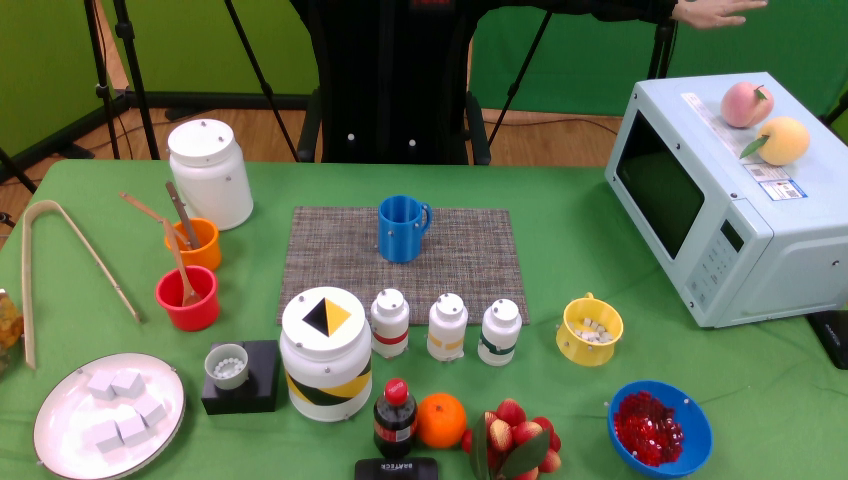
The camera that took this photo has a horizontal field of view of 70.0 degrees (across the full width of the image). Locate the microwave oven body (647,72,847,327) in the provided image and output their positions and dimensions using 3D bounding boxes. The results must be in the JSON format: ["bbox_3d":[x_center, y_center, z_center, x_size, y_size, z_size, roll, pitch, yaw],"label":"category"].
[{"bbox_3d":[0.608,-0.089,1.164,0.326,0.261,0.438,-7,46,-10],"label":"microwave oven body"}]

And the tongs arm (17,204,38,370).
[{"bbox_3d":[-0.698,0.069,1.068,0.028,0.028,0.385,-20,50,-13],"label":"tongs arm"}]

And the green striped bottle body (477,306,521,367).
[{"bbox_3d":[0.124,0.151,0.995,0.063,0.120,0.063,2,46,-2],"label":"green striped bottle body"}]

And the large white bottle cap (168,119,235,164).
[{"bbox_3d":[-0.407,-0.181,1.108,0.115,0.018,0.114,2,47,-2],"label":"large white bottle cap"}]

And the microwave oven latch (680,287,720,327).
[{"bbox_3d":[0.494,0.119,1.089,0.030,0.029,0.078,-7,46,-10],"label":"microwave oven latch"}]

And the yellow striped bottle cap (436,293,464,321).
[{"bbox_3d":[0.041,0.106,0.959,0.044,0.019,0.044,-1,49,1],"label":"yellow striped bottle cap"}]

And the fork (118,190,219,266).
[{"bbox_3d":[-0.459,-0.020,1.092,0.208,0.018,0.028,44,44,-24],"label":"fork"}]

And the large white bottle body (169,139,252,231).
[{"bbox_3d":[-0.411,-0.123,1.169,0.131,0.185,0.130,2,46,-2],"label":"large white bottle body"}]

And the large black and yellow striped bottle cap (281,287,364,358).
[{"bbox_3d":[-0.141,0.112,0.847,0.115,0.019,0.114,5,45,-4],"label":"large black and yellow striped bottle cap"}]

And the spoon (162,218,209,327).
[{"bbox_3d":[-0.410,0.054,1.029,0.041,0.021,0.194,-17,94,-15],"label":"spoon"}]

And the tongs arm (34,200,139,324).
[{"bbox_3d":[-0.622,0.034,1.105,0.051,0.026,0.382,-32,55,-26],"label":"tongs arm"}]

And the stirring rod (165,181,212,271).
[{"bbox_3d":[-0.430,-0.025,1.107,0.014,0.006,0.176,-25,94,-20],"label":"stirring rod"}]

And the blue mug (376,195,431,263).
[{"bbox_3d":[-0.035,-0.027,1.159,0.116,0.106,0.082,-24,53,-25],"label":"blue mug"}]

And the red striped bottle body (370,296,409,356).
[{"bbox_3d":[-0.058,0.134,0.997,0.063,0.120,0.062,4,47,-4],"label":"red striped bottle body"}]

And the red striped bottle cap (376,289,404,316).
[{"bbox_3d":[-0.055,0.098,0.958,0.044,0.018,0.044,0,47,1],"label":"red striped bottle cap"}]

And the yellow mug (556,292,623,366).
[{"bbox_3d":[0.285,0.145,1.051,0.100,0.064,0.130,7,45,3],"label":"yellow mug"}]

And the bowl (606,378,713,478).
[{"bbox_3d":[0.340,0.292,0.906,0.151,0.077,0.150,2,46,-2],"label":"bowl"}]

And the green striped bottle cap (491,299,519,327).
[{"bbox_3d":[0.128,0.115,0.958,0.044,0.020,0.044,1,47,-1],"label":"green striped bottle cap"}]

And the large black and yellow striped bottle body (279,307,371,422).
[{"bbox_3d":[-0.145,0.173,0.907,0.131,0.185,0.130,2,46,-2],"label":"large black and yellow striped bottle body"}]

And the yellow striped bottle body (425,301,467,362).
[{"bbox_3d":[0.037,0.142,0.996,0.063,0.121,0.062,3,46,-3],"label":"yellow striped bottle body"}]

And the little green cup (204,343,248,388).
[{"bbox_3d":[-0.294,0.190,0.909,0.061,0.039,0.061,1,48,-1],"label":"little green cup"}]

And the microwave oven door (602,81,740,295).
[{"bbox_3d":[0.456,-0.107,1.162,0.039,0.245,0.353,-7,47,-11],"label":"microwave oven door"}]

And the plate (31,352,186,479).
[{"bbox_3d":[-0.459,0.262,0.898,0.209,0.038,0.208,2,45,-2],"label":"plate"}]
